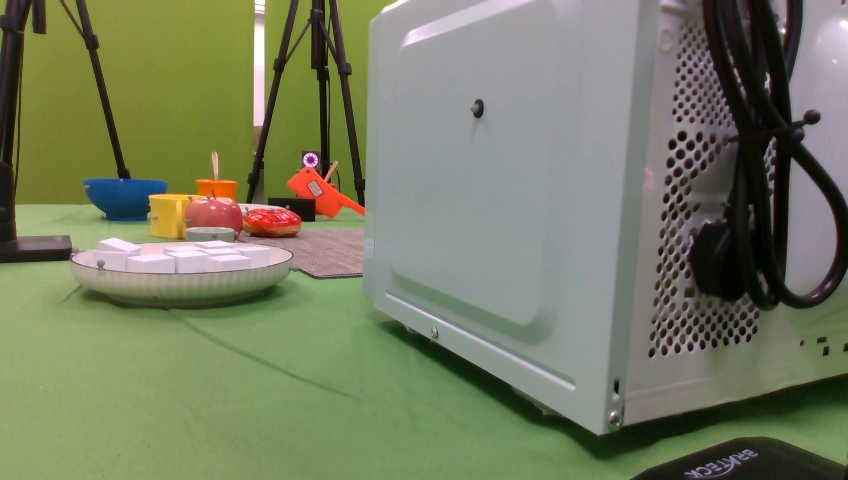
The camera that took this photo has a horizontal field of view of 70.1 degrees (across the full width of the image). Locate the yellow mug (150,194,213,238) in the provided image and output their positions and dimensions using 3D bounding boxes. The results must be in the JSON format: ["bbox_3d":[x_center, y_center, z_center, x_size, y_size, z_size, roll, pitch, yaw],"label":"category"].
[{"bbox_3d":[-0.401,-0.040,1.003,0.100,0.064,0.130,0,9,-20],"label":"yellow mug"}]

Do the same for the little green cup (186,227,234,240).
[{"bbox_3d":[-0.284,0.005,0.805,0.061,0.038,0.061,2,8,0],"label":"little green cup"}]

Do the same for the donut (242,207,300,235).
[{"bbox_3d":[-0.263,-0.032,1.039,0.099,0.048,0.099,4,9,0],"label":"donut"}]

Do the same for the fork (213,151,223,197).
[{"bbox_3d":[-0.494,-0.143,1.442,0.028,0.018,0.206,-2,52,-20],"label":"fork"}]

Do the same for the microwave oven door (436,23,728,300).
[{"bbox_3d":[0.180,-0.072,0.621,0.358,0.243,0.039,-2,9,-29],"label":"microwave oven door"}]

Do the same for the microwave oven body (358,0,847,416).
[{"bbox_3d":[0.211,-0.047,0.475,0.444,0.260,0.324,-1,8,-28],"label":"microwave oven body"}]

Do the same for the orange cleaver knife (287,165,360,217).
[{"bbox_3d":[-0.211,-0.093,1.382,0.212,0.077,0.012,33,1,-15],"label":"orange cleaver knife"}]

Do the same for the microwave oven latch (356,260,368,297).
[{"bbox_3d":[-0.020,0.033,0.531,0.079,0.029,0.030,-1,7,-27],"label":"microwave oven latch"}]

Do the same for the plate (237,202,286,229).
[{"bbox_3d":[-0.376,-0.048,1.184,0.209,0.038,0.209,3,8,0],"label":"plate"}]

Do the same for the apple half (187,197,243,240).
[{"bbox_3d":[-0.305,-0.026,0.907,0.053,0.074,0.081,12,8,31],"label":"apple half"}]

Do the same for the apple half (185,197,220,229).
[{"bbox_3d":[-0.338,-0.031,0.927,0.032,0.081,0.081,12,12,31],"label":"apple half"}]

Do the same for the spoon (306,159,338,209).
[{"bbox_3d":[-0.257,-0.147,1.567,0.041,0.022,0.193,1,50,20],"label":"spoon"}]

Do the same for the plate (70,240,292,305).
[{"bbox_3d":[-0.242,0.031,0.618,0.208,0.039,0.207,2,8,0],"label":"plate"}]

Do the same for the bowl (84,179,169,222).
[{"bbox_3d":[-0.584,-0.078,1.194,0.151,0.077,0.151,3,8,0],"label":"bowl"}]
